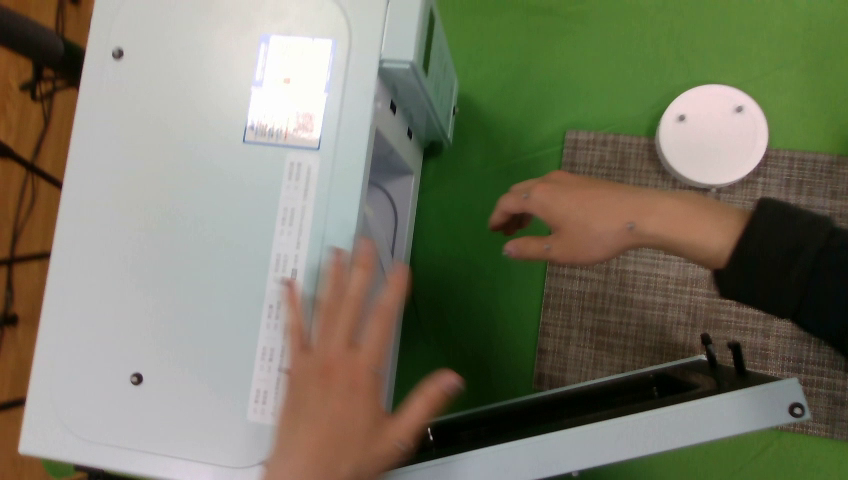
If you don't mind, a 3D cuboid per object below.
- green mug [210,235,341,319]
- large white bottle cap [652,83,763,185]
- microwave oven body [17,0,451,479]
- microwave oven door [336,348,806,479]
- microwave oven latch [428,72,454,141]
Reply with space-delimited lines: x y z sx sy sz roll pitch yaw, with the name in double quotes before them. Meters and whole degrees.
"green mug" -0.150 0.036 0.638 0.125 0.105 0.092 -9 86 1
"large white bottle cap" 0.315 -0.119 0.676 0.114 0.018 0.114 -1 83 9
"microwave oven body" -0.165 -0.009 0.624 0.325 0.261 0.440 6 85 10
"microwave oven door" 0.112 0.167 0.552 0.355 0.245 0.039 -16 81 8
"microwave oven latch" 0.018 -0.157 0.707 0.030 0.029 0.079 6 85 10
